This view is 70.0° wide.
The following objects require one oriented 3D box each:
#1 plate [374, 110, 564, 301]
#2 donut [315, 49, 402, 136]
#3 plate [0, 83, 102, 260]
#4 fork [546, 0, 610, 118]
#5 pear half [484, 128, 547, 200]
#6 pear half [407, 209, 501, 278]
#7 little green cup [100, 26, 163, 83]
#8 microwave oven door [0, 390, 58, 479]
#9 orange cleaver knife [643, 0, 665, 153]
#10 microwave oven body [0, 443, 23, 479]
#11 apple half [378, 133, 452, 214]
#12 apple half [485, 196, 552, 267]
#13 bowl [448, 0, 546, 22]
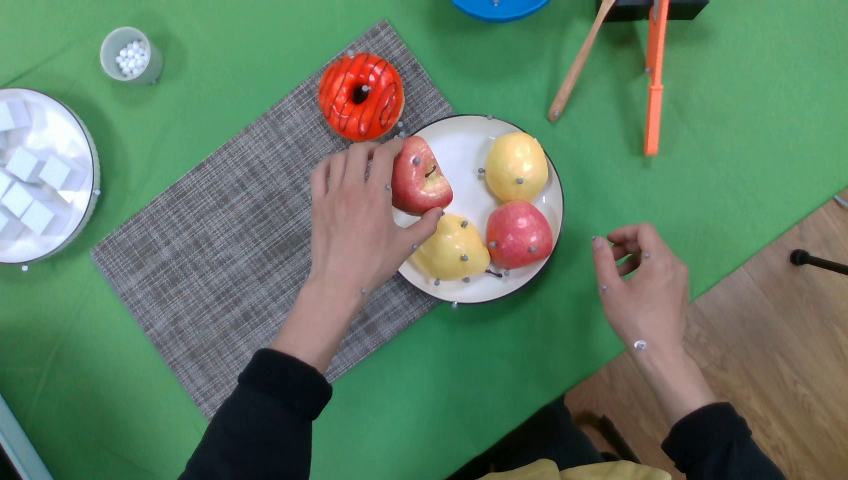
[{"bbox_3d":[0.049,-0.037,0.674,0.209,0.038,0.209,0,91,5],"label":"plate"},{"bbox_3d":[-0.073,-0.164,0.680,0.099,0.048,0.099,0,93,7],"label":"donut"},{"bbox_3d":[-0.479,-0.080,0.724,0.207,0.039,0.207,0,91,5],"label":"plate"},{"bbox_3d":[0.177,-0.225,0.639,0.028,0.018,0.208,21,113,-3],"label":"fork"},{"bbox_3d":[0.095,-0.076,0.655,0.070,0.031,0.088,-2,105,30],"label":"pear half"},{"bbox_3d":[0.038,0.011,0.662,0.110,0.056,0.076,26,98,-2],"label":"pear half"},{"bbox_3d":[-0.340,-0.214,0.710,0.061,0.038,0.061,0,90,6],"label":"little green cup"},{"bbox_3d":[-0.447,0.316,0.606,0.039,0.244,0.355,-35,87,5],"label":"microwave oven door"},{"bbox_3d":[0.241,-0.200,0.636,0.012,0.077,0.213,0,116,10],"label":"orange cleaver knife"},{"bbox_3d":[-0.590,0.362,0.624,0.326,0.260,0.441,-34,88,4],"label":"microwave oven body"},{"bbox_3d":[-0.017,-0.059,0.603,0.053,0.074,0.081,-33,108,-17],"label":"apple half"},{"bbox_3d":[0.094,-0.007,0.652,0.081,0.033,0.081,6,104,26],"label":"apple half"},{"bbox_3d":[0.079,-0.301,0.652,0.151,0.077,0.151,0,91,5],"label":"bowl"}]
